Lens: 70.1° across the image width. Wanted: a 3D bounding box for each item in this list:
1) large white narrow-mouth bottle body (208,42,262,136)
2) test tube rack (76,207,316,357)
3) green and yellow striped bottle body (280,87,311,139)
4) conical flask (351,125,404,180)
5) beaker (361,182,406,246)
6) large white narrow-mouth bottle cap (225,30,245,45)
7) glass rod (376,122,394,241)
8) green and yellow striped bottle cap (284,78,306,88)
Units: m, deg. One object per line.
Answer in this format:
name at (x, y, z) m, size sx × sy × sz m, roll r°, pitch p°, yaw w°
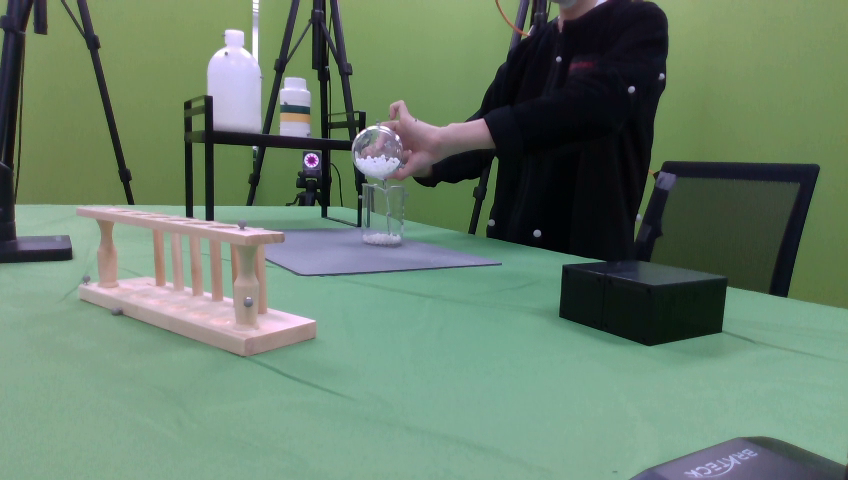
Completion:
large white narrow-mouth bottle body at (-0.368, -0.304, 1.181) m, size 0.102 × 0.194 × 0.101 m, roll 2°, pitch 9°, yaw 0°
test tube rack at (-0.196, 0.023, 0.500) m, size 0.241 × 0.085 × 0.067 m, roll 8°, pitch 9°, yaw 36°
green and yellow striped bottle body at (-0.269, -0.274, 1.266) m, size 0.063 × 0.119 × 0.063 m, roll 3°, pitch 7°, yaw 0°
conical flask at (-0.064, -0.120, 0.904) m, size 0.075 × 0.075 × 0.122 m, roll 2°, pitch -6°, yaw 1°
beaker at (-0.067, -0.042, 0.993) m, size 0.074 × 0.100 × 0.084 m, roll 1°, pitch 8°, yaw -8°
large white narrow-mouth bottle cap at (-0.365, -0.390, 1.166) m, size 0.038 × 0.024 × 0.037 m, roll 2°, pitch 9°, yaw 0°
glass rod at (-0.065, -0.098, 0.997) m, size 0.008 × 0.199 × 0.008 m, roll -7°, pitch -4°, yaw 0°
green and yellow striped bottle cap at (-0.268, -0.325, 1.259) m, size 0.045 × 0.020 × 0.045 m, roll 5°, pitch 8°, yaw 0°
